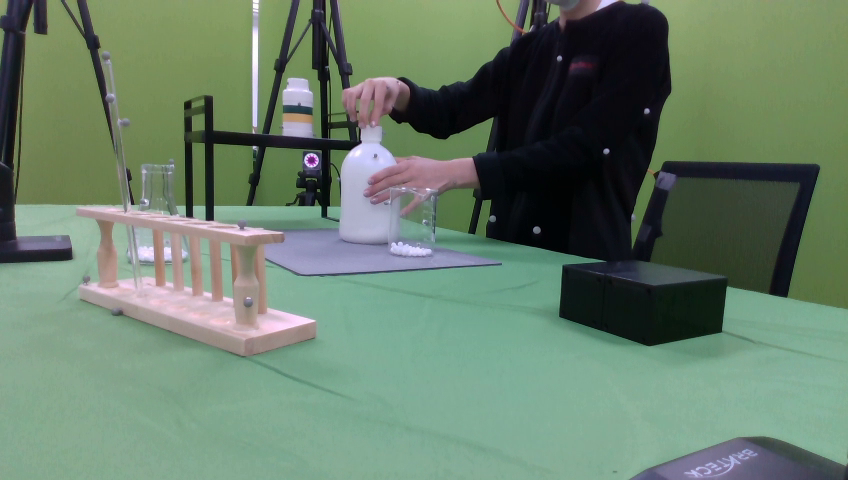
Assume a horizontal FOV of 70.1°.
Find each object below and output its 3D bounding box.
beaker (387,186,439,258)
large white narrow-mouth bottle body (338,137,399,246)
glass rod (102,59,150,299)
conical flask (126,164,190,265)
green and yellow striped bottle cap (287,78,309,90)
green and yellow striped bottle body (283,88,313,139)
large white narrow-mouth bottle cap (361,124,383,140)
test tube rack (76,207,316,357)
[{"bbox_3d":[-0.015,-0.027,0.885,0.074,0.100,0.083,-1,9,-20],"label":"beaker"},{"bbox_3d":[-0.092,-0.092,1.014,0.102,0.194,0.101,4,9,0],"label":"large white narrow-mouth bottle body"},{"bbox_3d":[-0.243,-0.045,0.496,0.008,0.199,0.008,-3,13,1],"label":"glass rod"},{"bbox_3d":[-0.332,-0.033,0.756,0.075,0.122,0.075,2,7,0],"label":"conical flask"},{"bbox_3d":[-0.265,-0.326,1.268,0.045,0.020,0.045,4,6,0],"label":"green and yellow striped bottle cap"},{"bbox_3d":[-0.266,-0.275,1.275,0.063,0.119,0.063,3,7,0],"label":"green and yellow striped bottle body"},{"bbox_3d":[-0.085,-0.179,0.999,0.038,0.024,0.037,4,9,0],"label":"large white narrow-mouth bottle cap"},{"bbox_3d":[-0.196,0.023,0.500,0.241,0.085,0.067,8,9,36],"label":"test tube rack"}]
